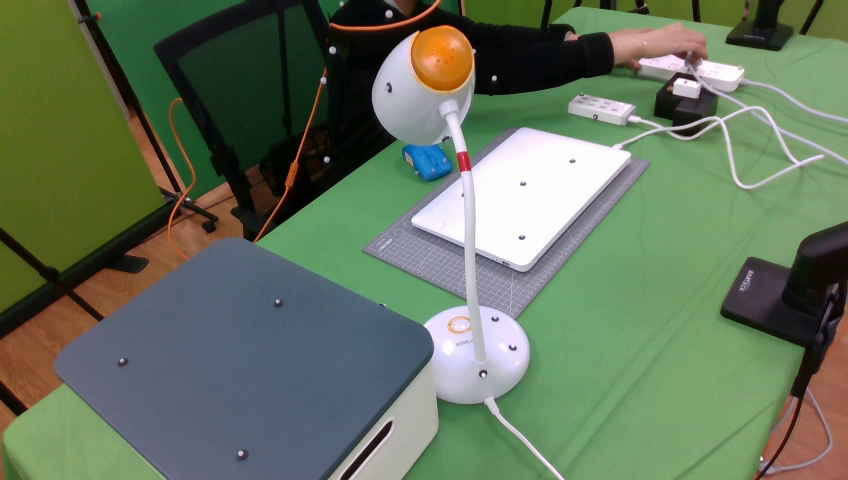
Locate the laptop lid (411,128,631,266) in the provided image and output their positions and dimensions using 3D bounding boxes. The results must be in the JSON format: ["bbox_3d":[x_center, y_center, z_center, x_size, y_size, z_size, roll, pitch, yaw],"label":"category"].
[{"bbox_3d":[0.173,-0.093,1.049,0.239,0.013,0.358,24,50,36],"label":"laptop lid"}]

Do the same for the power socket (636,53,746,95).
[{"bbox_3d":[0.564,-0.357,1.293,0.225,0.033,0.072,25,52,33],"label":"power socket"}]

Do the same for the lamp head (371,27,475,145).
[{"bbox_3d":[0.007,-0.167,0.644,0.113,0.112,0.122,-22,2,-14],"label":"lamp head"}]

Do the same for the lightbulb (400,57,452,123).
[{"bbox_3d":[0.004,-0.169,0.668,0.059,0.108,0.059,1,79,-3],"label":"lightbulb"}]

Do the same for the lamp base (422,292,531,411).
[{"bbox_3d":[0.055,0.095,0.740,0.161,0.181,0.177,-19,43,-11],"label":"lamp base"}]

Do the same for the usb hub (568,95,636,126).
[{"bbox_3d":[0.361,-0.264,1.228,0.124,0.025,0.049,24,50,34],"label":"usb hub"}]

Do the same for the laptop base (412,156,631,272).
[{"bbox_3d":[0.176,-0.084,1.055,0.233,0.023,0.355,21,48,36],"label":"laptop base"}]

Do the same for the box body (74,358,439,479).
[{"bbox_3d":[-0.189,0.178,0.702,0.361,0.161,0.255,22,49,32],"label":"box body"}]

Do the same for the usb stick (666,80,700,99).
[{"bbox_3d":[0.492,-0.288,1.152,0.058,0.027,0.021,20,50,34],"label":"usb stick"}]

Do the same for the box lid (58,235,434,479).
[{"bbox_3d":[-0.198,0.123,0.653,0.368,0.015,0.264,22,49,32],"label":"box lid"}]

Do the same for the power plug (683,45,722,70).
[{"bbox_3d":[0.578,-0.374,1.258,0.072,0.053,0.035,2,63,17],"label":"power plug"}]

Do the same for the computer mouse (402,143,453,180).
[{"bbox_3d":[0.006,-0.159,1.165,0.063,0.041,0.116,-21,45,-16],"label":"computer mouse"}]
